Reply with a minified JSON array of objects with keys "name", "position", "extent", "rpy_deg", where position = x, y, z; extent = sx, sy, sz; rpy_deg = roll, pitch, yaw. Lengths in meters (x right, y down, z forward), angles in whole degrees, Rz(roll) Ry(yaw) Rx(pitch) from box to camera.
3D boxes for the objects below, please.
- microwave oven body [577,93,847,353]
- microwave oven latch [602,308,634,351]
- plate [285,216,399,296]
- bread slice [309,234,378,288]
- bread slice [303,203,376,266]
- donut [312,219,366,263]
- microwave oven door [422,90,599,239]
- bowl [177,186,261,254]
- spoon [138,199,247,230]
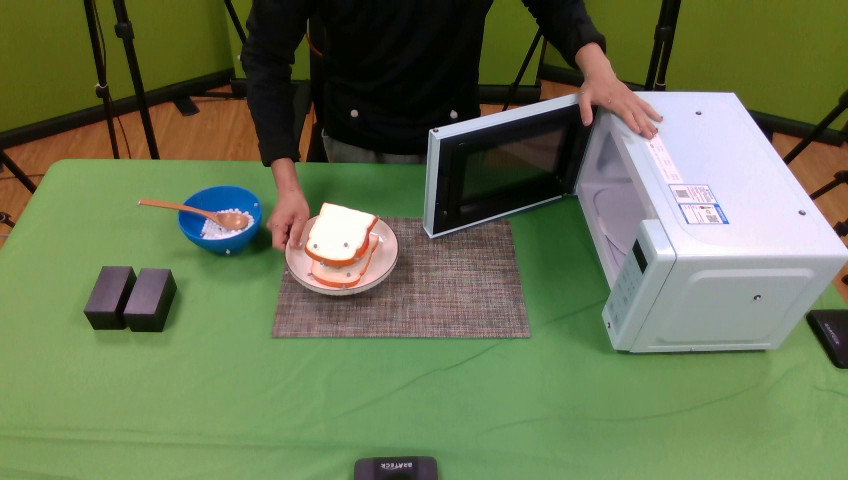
[{"name":"microwave oven body","position":[0.475,-0.041,1.109],"extent":[0.326,0.261,0.438],"rpy_deg":[-1,45,-4]},{"name":"microwave oven latch","position":[0.332,0.153,1.044],"extent":[0.030,0.029,0.078],"rpy_deg":[-1,45,-4]},{"name":"plate","position":[-0.150,0.027,1.119],"extent":[0.208,0.039,0.206],"rpy_deg":[1,45,-1]},{"name":"bread slice","position":[-0.150,0.033,1.114],"extent":[0.107,0.018,0.133],"rpy_deg":[7,45,6]},{"name":"bread slice","position":[-0.152,-0.009,1.074],"extent":[0.105,0.019,0.131],"rpy_deg":[14,48,4]},{"name":"donut","position":[-0.153,0.002,1.098],"extent":[0.099,0.048,0.098],"rpy_deg":[-5,40,4]},{"name":"microwave oven door","position":[0.167,-0.147,1.181],"extent":[0.356,0.245,0.039],"rpy_deg":[-18,49,-20]},{"name":"bowl","position":[-0.383,-0.026,1.158],"extent":[0.151,0.077,0.150],"rpy_deg":[2,46,-2]},{"name":"spoon","position":[-0.431,-0.053,1.136],"extent":[0.194,0.022,0.041],"rpy_deg":[15,47,-21]}]
